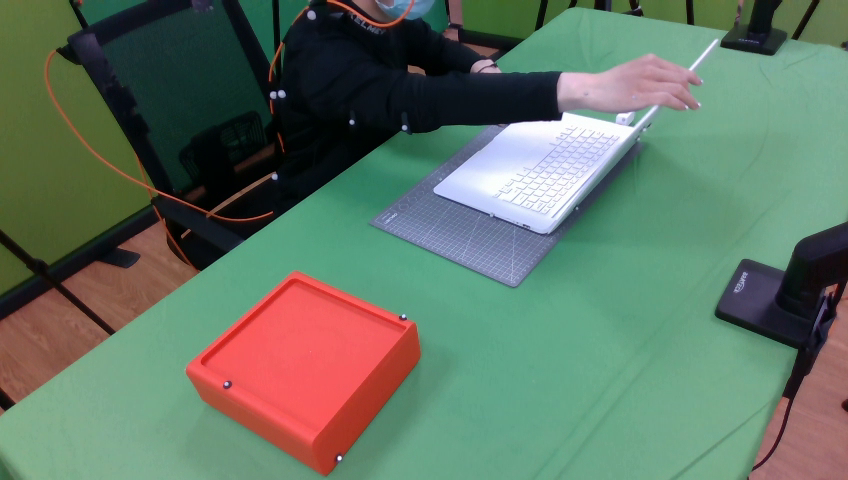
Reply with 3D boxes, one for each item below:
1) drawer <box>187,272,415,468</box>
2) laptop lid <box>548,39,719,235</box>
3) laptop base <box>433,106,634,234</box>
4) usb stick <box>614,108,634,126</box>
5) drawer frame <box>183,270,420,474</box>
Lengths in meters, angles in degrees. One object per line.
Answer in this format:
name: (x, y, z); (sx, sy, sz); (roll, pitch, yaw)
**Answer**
drawer: (-0.150, 0.154, 0.768); (0.210, 0.073, 0.195); (20, 47, 27)
laptop lid: (0.333, -0.163, 0.956); (0.013, 0.241, 0.358); (41, 54, 10)
laptop base: (0.210, -0.142, 1.110); (0.233, 0.023, 0.355); (21, 48, 33)
usb stick: (0.385, -0.233, 1.174); (0.021, 0.027, 0.059); (21, 47, 31)
drawer frame: (-0.148, 0.153, 0.767); (0.212, 0.083, 0.202); (19, 46, 27)
